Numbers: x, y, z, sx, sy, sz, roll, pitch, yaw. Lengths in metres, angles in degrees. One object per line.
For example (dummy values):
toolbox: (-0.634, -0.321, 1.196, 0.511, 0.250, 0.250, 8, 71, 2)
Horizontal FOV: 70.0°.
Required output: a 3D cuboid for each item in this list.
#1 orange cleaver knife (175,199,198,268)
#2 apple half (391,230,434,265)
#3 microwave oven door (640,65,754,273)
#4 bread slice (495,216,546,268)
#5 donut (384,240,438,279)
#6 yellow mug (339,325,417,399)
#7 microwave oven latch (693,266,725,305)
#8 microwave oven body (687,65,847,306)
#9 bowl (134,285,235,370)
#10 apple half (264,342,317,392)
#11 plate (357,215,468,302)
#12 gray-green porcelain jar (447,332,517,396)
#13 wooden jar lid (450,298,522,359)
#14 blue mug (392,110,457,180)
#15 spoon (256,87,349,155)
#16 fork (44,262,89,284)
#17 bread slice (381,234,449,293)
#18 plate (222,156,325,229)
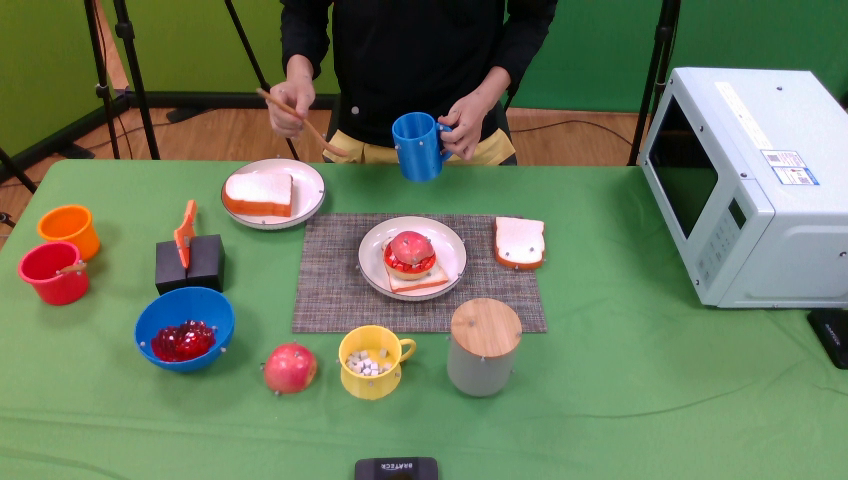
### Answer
orange cleaver knife: (-0.438, -0.017, 1.138, 0.012, 0.077, 0.210, -14, 27, -7)
apple half: (-0.021, 0.004, 1.085, 0.081, 0.033, 0.081, 7, 44, -7)
microwave oven door: (0.523, -0.147, 1.193, 0.039, 0.245, 0.353, 0, 47, -3)
bread slice: (0.194, 0.002, 1.204, 0.105, 0.019, 0.131, 5, 45, 2)
donut: (-0.024, 0.029, 1.109, 0.099, 0.048, 0.098, 2, 46, -2)
yellow mug: (-0.072, 0.190, 0.978, 0.131, 0.064, 0.099, -17, 50, -20)
microwave oven latch: (0.523, 0.082, 1.115, 0.030, 0.029, 0.078, 3, 46, 0)
microwave oven body: (0.669, -0.111, 1.176, 0.326, 0.261, 0.439, 0, 46, -3)
bowl: (-0.377, 0.155, 0.981, 0.151, 0.077, 0.150, 2, 46, -2)
apple half: (-0.214, 0.198, 0.970, 0.074, 0.053, 0.080, 19, 47, 11)
plate: (-0.022, 0.037, 1.141, 0.208, 0.039, 0.206, 2, 46, -2)
gray-green porcelain jar: (0.091, 0.178, 0.960, 0.106, 0.127, 0.105, 2, 46, -2)
wooden jar lid: (0.093, 0.135, 0.914, 0.108, 0.021, 0.107, 2, 48, -3)
blue mug: (0.005, -0.181, 1.144, 0.116, 0.106, 0.082, -11, 49, 1)
spoon: (-0.205, -0.202, 1.039, 0.021, 0.195, 0.041, -46, 35, 7)
fork: (-0.598, 0.054, 1.014, 0.207, 0.019, 0.028, -15, 29, 45)
bread slice: (-0.026, 0.039, 1.140, 0.107, 0.018, 0.133, -12, 49, -15)
plate: (-0.308, -0.095, 1.251, 0.209, 0.038, 0.208, 2, 46, -2)
